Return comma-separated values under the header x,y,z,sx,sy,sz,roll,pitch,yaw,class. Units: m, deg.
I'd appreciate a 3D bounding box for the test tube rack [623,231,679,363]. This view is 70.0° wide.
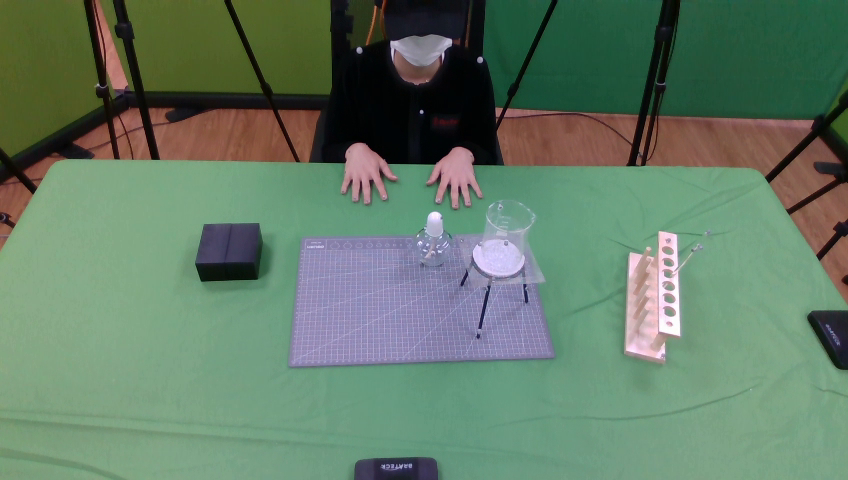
x,y,z,sx,sy,sz,roll,pitch,yaw,class
0.410,0.094,1.096,0.066,0.085,0.241,13,46,9,test tube rack

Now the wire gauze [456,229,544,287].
x,y,z,sx,sy,sz,roll,pitch,yaw,class
0.125,0.030,1.008,0.125,0.011,0.120,-3,48,-11,wire gauze

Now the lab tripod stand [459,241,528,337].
x,y,z,sx,sy,sz,roll,pitch,yaw,class
0.122,0.075,1.054,0.148,0.132,0.147,3,44,-2,lab tripod stand

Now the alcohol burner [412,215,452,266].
x,y,z,sx,sy,sz,roll,pitch,yaw,class
0.017,-0.006,1.139,0.078,0.119,0.077,2,48,-2,alcohol burner

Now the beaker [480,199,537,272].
x,y,z,sx,sy,sz,roll,pitch,yaw,class
0.132,-0.004,0.973,0.084,0.101,0.073,-4,47,-9,beaker

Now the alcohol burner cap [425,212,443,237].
x,y,z,sx,sy,sz,roll,pitch,yaw,class
0.019,-0.032,1.114,0.034,0.048,0.033,0,49,0,alcohol burner cap

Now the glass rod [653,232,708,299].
x,y,z,sx,sy,sz,roll,pitch,yaw,class
0.441,0.049,1.050,0.008,0.200,0.008,4,52,-5,glass rod
